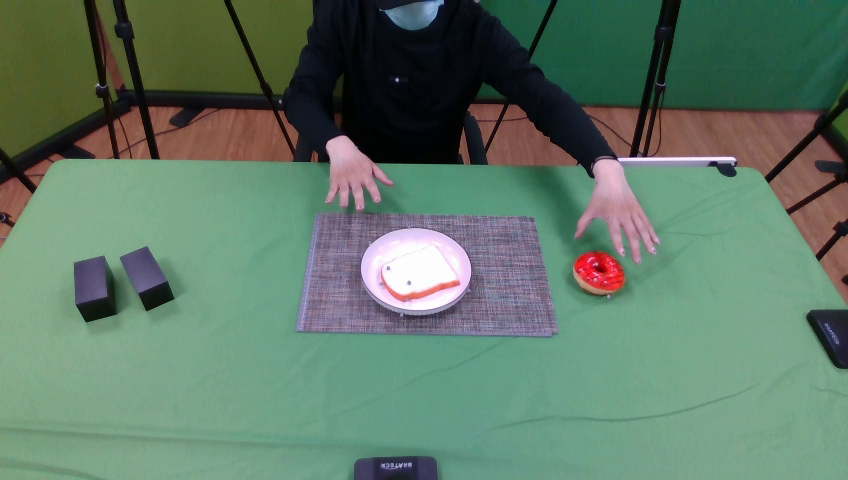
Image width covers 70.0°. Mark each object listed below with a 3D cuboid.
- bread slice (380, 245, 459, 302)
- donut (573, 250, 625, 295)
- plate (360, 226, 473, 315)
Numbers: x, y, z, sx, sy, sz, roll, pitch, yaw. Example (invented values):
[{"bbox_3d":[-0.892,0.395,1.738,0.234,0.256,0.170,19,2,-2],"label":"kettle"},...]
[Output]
[{"bbox_3d":[-0.014,0.063,1.122,0.132,0.019,0.104,-18,49,-21],"label":"bread slice"},{"bbox_3d":[0.332,0.062,1.149,0.099,0.048,0.098,4,45,-4],"label":"donut"},{"bbox_3d":[-0.013,0.059,1.124,0.208,0.039,0.206,2,46,-2],"label":"plate"}]
